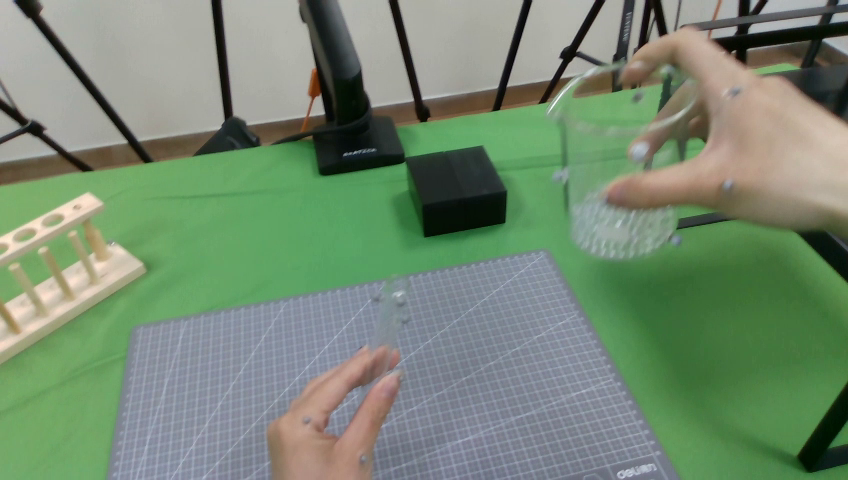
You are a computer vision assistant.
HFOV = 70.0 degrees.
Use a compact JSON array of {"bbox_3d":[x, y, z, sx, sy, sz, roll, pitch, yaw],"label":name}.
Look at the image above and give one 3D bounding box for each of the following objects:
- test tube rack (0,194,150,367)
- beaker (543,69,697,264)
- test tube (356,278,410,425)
[{"bbox_3d":[-0.414,0.057,0.608,0.066,0.086,0.242,28,50,30],"label":"test tube rack"},{"bbox_3d":[0.119,-0.041,0.373,0.084,0.101,0.073,-3,42,14],"label":"beaker"},{"bbox_3d":[-0.031,0.083,0.420,0.017,0.151,0.017,9,40,-7],"label":"test tube"}]
